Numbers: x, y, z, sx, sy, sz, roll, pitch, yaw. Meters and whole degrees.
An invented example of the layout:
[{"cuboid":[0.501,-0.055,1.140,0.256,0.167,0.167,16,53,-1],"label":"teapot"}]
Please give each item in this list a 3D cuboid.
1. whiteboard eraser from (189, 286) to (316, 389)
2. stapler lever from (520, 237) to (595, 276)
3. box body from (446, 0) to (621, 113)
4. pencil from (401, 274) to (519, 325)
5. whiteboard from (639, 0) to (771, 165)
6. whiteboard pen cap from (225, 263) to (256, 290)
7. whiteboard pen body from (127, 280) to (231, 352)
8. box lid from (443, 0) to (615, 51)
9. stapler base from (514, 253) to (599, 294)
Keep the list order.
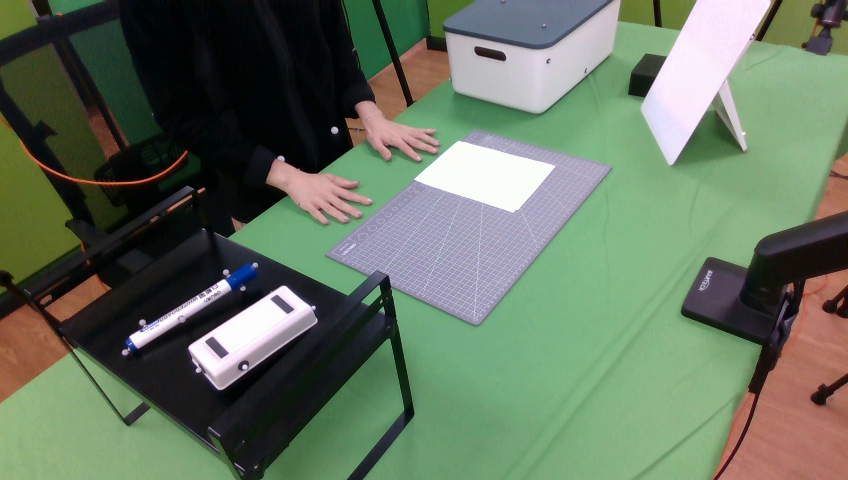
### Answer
[{"cuboid":[-0.166,0.096,0.593,0.113,0.042,0.055,-36,47,-29],"label":"whiteboard eraser"},{"cuboid":[0.193,0.018,0.875,0.118,0.040,0.026,-21,43,-17],"label":"stapler lever"},{"cuboid":[0.249,-0.447,1.356,0.252,0.161,0.365,23,49,31],"label":"box body"},{"cuboid":[0.056,0.082,0.872,0.195,0.012,0.012,-20,42,-19],"label":"pencil"},{"cuboid":[0.543,-0.298,1.076,0.144,0.305,0.216,12,40,-7],"label":"whiteboard"},{"cuboid":[-0.204,0.041,0.668,0.033,0.018,0.018,-36,48,-22],"label":"whiteboard pen cap"},{"cuboid":[-0.248,0.072,0.645,0.141,0.017,0.017,-35,47,-23],"label":"whiteboard pen body"},{"cuboid":[0.243,-0.504,1.308,0.261,0.015,0.372,24,50,31],"label":"box lid"},{"cuboid":[0.195,0.039,0.891,0.131,0.024,0.041,-22,43,-16],"label":"stapler base"}]
